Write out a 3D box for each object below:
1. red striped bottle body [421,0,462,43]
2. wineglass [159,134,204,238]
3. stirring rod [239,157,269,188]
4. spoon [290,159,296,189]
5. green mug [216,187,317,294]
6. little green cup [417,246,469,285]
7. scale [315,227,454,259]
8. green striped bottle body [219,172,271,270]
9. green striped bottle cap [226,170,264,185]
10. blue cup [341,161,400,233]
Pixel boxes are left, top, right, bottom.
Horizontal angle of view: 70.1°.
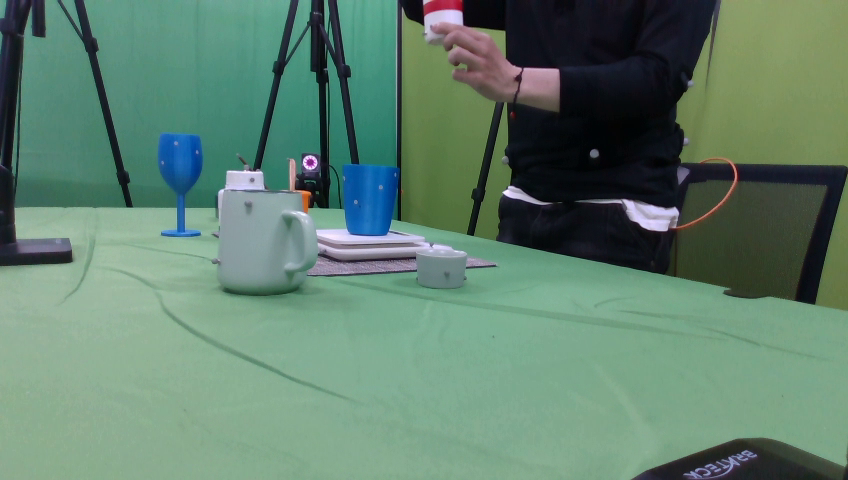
[{"bbox_3d":[0.025,-0.381,0.963,0.063,0.119,0.063,-5,6,1],"label":"red striped bottle body"},{"bbox_3d":[-0.415,-0.093,1.040,0.074,0.172,0.073,2,7,0],"label":"wineglass"},{"bbox_3d":[-0.309,-0.098,1.209,0.006,0.177,0.014,-39,29,-4],"label":"stirring rod"},{"bbox_3d":[-0.273,-0.102,1.252,0.042,0.193,0.021,7,-38,-17],"label":"spoon"},{"bbox_3d":[-0.157,0.000,0.629,0.124,0.105,0.093,7,9,37],"label":"green mug"},{"bbox_3d":[0.021,0.029,0.701,0.061,0.038,0.061,1,6,0],"label":"little green cup"},{"bbox_3d":[-0.066,0.001,0.906,0.202,0.031,0.148,-2,8,-31],"label":"scale"},{"bbox_3d":[-0.223,-0.025,0.755,0.063,0.119,0.063,2,7,0],"label":"green striped bottle body"},{"bbox_3d":[-0.222,-0.076,0.748,0.044,0.020,0.044,0,7,0],"label":"green striped bottle cap"},{"bbox_3d":[-0.080,-0.062,0.883,0.093,0.100,0.092,2,4,0],"label":"blue cup"}]
